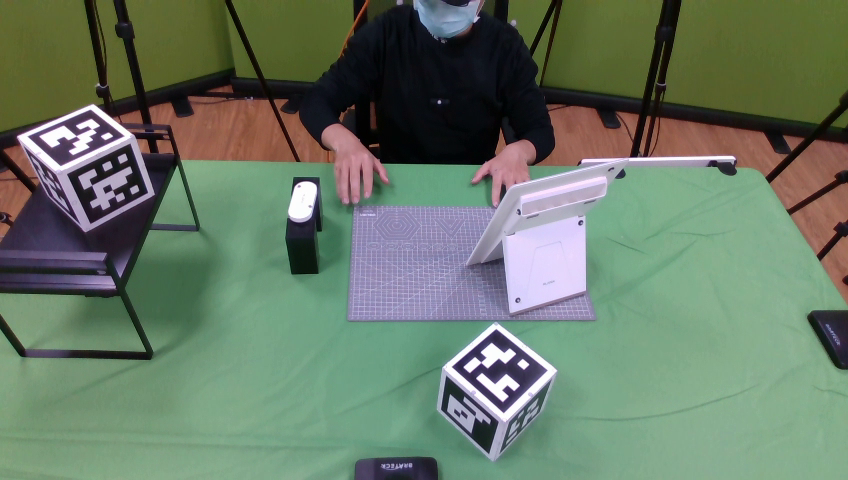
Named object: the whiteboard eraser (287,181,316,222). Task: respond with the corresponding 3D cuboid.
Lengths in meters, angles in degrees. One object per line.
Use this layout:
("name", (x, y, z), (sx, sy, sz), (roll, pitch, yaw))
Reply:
("whiteboard eraser", (-0.224, -0.071, 1.112), (0.041, 0.019, 0.100), (3, 45, 0))

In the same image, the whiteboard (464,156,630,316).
("whiteboard", (0.224, 0.014, 1.041), (0.217, 0.306, 0.143), (-14, 68, -17))
